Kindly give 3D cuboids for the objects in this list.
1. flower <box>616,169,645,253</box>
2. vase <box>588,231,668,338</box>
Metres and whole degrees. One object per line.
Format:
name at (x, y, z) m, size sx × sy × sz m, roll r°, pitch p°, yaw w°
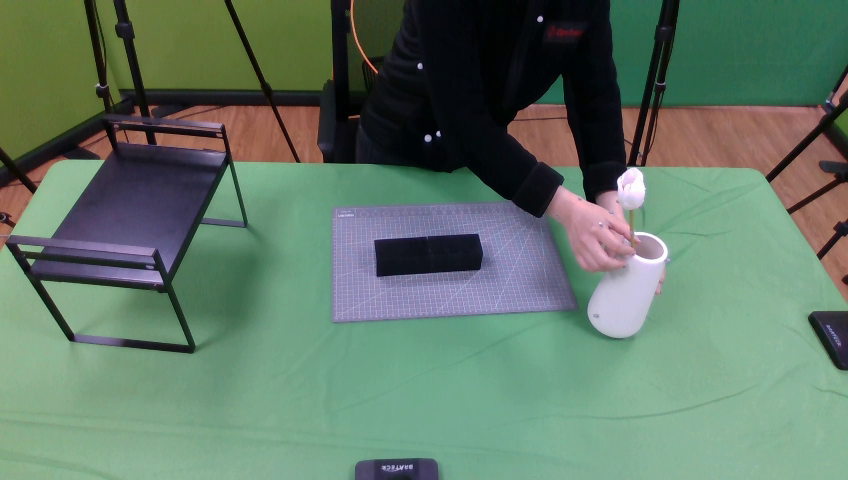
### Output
flower at (0.330, 0.025, 0.959) m, size 0.038 × 0.364 × 0.044 m, roll -5°, pitch 51°, yaw 17°
vase at (0.344, 0.079, 1.022) m, size 0.098 × 0.201 × 0.097 m, roll 1°, pitch 47°, yaw -1°
